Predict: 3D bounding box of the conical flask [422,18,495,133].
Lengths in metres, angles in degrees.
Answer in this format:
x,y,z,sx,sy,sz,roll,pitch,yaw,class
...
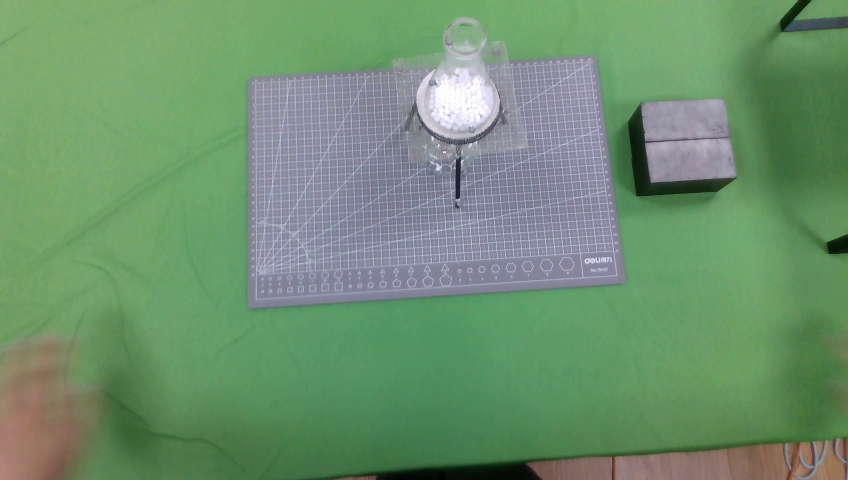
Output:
x,y,z,sx,sy,sz,roll,pitch,yaw,class
0.035,-0.158,0.573,0.075,0.122,0.075,0,76,0,conical flask

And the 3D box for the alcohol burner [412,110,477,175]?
x,y,z,sx,sy,sz,roll,pitch,yaw,class
0.024,-0.120,0.703,0.078,0.119,0.077,0,76,0,alcohol burner

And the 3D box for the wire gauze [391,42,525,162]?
x,y,z,sx,sy,sz,roll,pitch,yaw,class
0.035,-0.143,0.631,0.125,0.011,0.121,-8,79,-4,wire gauze

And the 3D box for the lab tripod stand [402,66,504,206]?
x,y,z,sx,sy,sz,roll,pitch,yaw,class
0.038,-0.130,0.695,0.148,0.132,0.147,0,75,1,lab tripod stand
